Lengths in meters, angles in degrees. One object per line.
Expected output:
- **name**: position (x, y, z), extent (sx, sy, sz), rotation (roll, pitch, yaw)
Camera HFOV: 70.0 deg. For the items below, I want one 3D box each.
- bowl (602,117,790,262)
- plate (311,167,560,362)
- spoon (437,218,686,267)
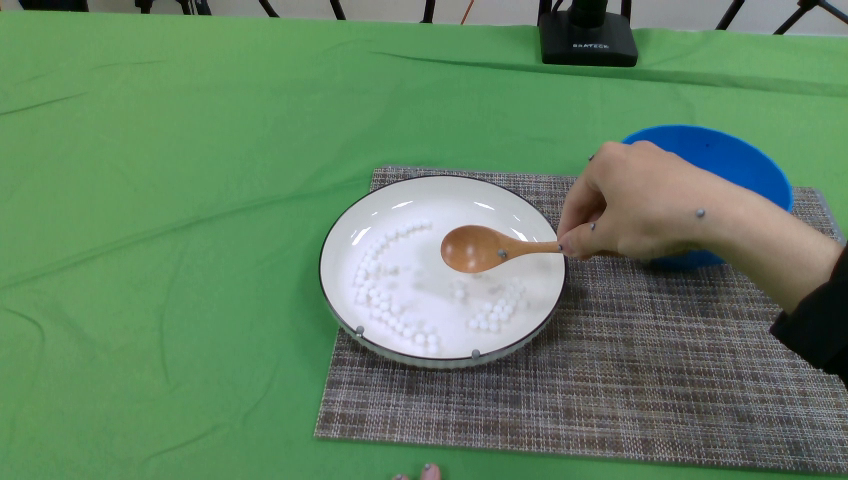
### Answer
- **bowl**: position (0.228, -0.033, 0.539), extent (0.151, 0.077, 0.150), rotation (0, 48, 0)
- **plate**: position (0.010, 0.019, 0.521), extent (0.208, 0.039, 0.205), rotation (0, 48, 0)
- **spoon**: position (0.094, 0.001, 0.457), extent (0.192, 0.022, 0.041), rotation (0, 78, 37)
